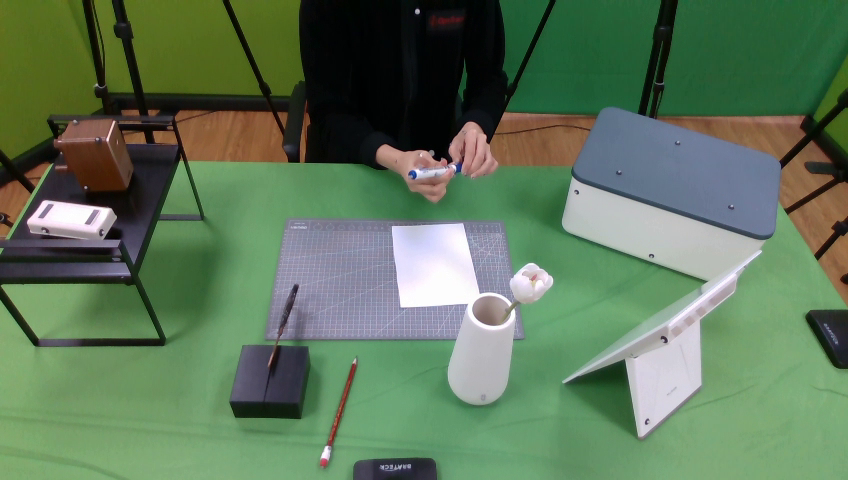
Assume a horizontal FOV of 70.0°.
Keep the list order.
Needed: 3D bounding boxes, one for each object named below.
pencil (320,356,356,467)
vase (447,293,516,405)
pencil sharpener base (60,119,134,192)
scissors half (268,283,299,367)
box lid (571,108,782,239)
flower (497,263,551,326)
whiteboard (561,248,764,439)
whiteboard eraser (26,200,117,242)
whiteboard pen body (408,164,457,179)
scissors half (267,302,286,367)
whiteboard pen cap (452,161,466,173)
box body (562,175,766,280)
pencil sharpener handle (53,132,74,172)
[{"bbox_3d":[-0.130,0.261,0.946,0.012,0.012,0.193,10,45,5],"label":"pencil"},{"bbox_3d":[0.091,0.169,0.921,0.098,0.201,0.097,3,47,-3],"label":"vase"},{"bbox_3d":[-0.528,-0.135,0.979,0.077,0.107,0.061,-4,47,-7],"label":"pencil sharpener base"},{"bbox_3d":[-0.230,0.135,0.986,0.013,0.040,0.174,19,43,-10],"label":"scissors half"},{"bbox_3d":[0.491,-0.139,1.168,0.370,0.015,0.262,20,49,15],"label":"box lid"},{"bbox_3d":[0.103,0.121,0.853,0.044,0.363,0.038,-1,64,-9],"label":"flower"},{"bbox_3d":[0.386,0.176,0.905,0.217,0.306,0.143,-26,72,-27],"label":"whiteboard"},{"bbox_3d":[-0.532,-0.026,0.919,0.113,0.042,0.055,7,45,3],"label":"whiteboard eraser"},{"bbox_3d":[0.022,-0.116,1.014,0.017,0.017,0.141,37,32,27],"label":"whiteboard pen body"},{"bbox_3d":[-0.239,0.150,0.997,0.013,0.040,0.174,24,24,-13],"label":"scissors half"},{"bbox_3d":[0.058,-0.128,1.059,0.018,0.018,0.033,37,34,27],"label":"whiteboard pen cap"},{"bbox_3d":[0.486,-0.088,1.222,0.363,0.161,0.253,20,48,15],"label":"box body"},{"bbox_3d":[-0.578,-0.138,0.961,0.031,0.068,0.036,-4,34,-7],"label":"pencil sharpener handle"}]
